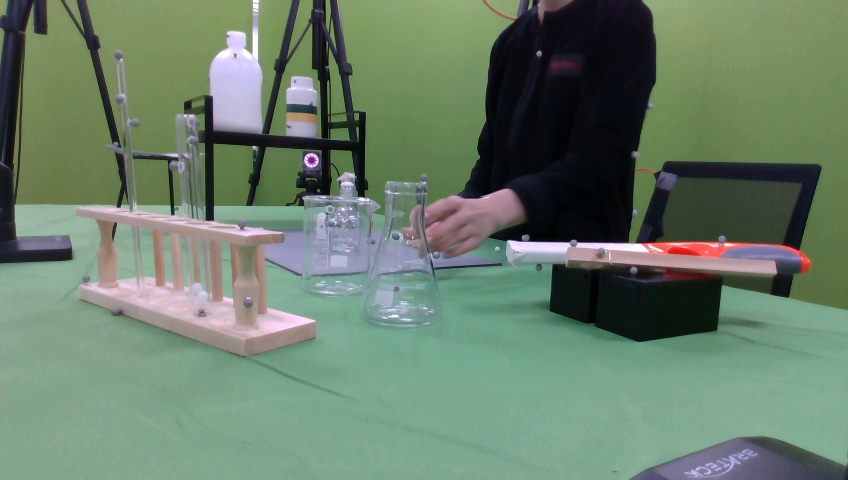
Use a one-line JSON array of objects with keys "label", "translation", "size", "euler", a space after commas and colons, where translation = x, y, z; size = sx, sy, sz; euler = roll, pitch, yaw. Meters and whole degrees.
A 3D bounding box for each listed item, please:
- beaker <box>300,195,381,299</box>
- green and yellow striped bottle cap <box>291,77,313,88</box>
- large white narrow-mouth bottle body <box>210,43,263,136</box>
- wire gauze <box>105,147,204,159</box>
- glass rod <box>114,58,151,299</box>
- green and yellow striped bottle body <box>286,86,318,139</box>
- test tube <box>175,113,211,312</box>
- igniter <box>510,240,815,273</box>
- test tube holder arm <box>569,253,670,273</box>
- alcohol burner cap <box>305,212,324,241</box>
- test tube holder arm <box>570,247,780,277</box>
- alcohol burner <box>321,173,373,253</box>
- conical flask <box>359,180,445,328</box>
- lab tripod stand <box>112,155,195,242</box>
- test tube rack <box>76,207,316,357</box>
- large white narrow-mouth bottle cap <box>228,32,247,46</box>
[{"label": "beaker", "translation": [-0.087, 0.006, 0.626], "size": [0.084, 0.100, 0.074], "euler": [1, 8, -17]}, {"label": "green and yellow striped bottle cap", "translation": [-0.249, -0.321, 1.237], "size": [0.045, 0.020, 0.045], "euler": [3, 5, 0]}, {"label": "large white narrow-mouth bottle body", "translation": [-0.369, -0.305, 1.194], "size": [0.102, 0.194, 0.102], "euler": [3, 8, 0]}, {"label": "wire gauze", "translation": [-0.407, -0.131, 0.928], "size": [0.125, 0.011, 0.121], "euler": [2, 6, -11]}, {"label": "glass rod", "translation": [-0.236, -0.044, 0.492], "size": [0.008, 0.199, 0.008], "euler": [0, 15, 0]}, {"label": "green and yellow striped bottle body", "translation": [-0.251, -0.270, 1.245], "size": [0.063, 0.119, 0.063], "euler": [2, 7, 0]}, {"label": "test tube", "translation": [-0.174, -0.020, 0.458], "size": [0.017, 0.150, 0.017], "euler": [-2, 5, 1]}, {"label": "igniter", "translation": [0.220, 0.015, 0.565], "size": [0.277, 0.025, 0.057], "euler": [2, 16, -1]}, {"label": "test tube holder arm", "translation": [0.172, 0.019, 0.532], "size": [0.088, 0.015, 0.010], "euler": [3, -24, 3]}, {"label": "alcohol burner cap", "translation": [-0.185, -0.023, 1.027], "size": [0.034, 0.048, 0.034], "euler": [2, 6, 0]}, {"label": "test tube holder arm", "translation": [0.217, 0.020, 0.525], "size": [0.178, 0.015, 0.013], "euler": [3, -24, 3]}, {"label": "alcohol burner", "translation": [-0.115, -0.041, 0.905], "size": [0.078, 0.119, 0.078], "euler": [1, 6, 0]}, {"label": "conical flask", "translation": [-0.017, 0.010, 0.522], "size": [0.075, 0.122, 0.075], "euler": [2, 7, 0]}, {"label": "lab tripod stand", "translation": [-0.405, -0.064, 0.931], "size": [0.148, 0.131, 0.148], "euler": [1, 6, 0]}, {"label": "test tube rack", "translation": [-0.196, 0.023, 0.500], "size": [0.241, 0.085, 0.067], "euler": [8, 9, 36]}, {"label": "large white narrow-mouth bottle cap", "translation": [-0.364, -0.391, 1.180], "size": [0.038, 0.024, 0.037], "euler": [3, 8, 0]}]
